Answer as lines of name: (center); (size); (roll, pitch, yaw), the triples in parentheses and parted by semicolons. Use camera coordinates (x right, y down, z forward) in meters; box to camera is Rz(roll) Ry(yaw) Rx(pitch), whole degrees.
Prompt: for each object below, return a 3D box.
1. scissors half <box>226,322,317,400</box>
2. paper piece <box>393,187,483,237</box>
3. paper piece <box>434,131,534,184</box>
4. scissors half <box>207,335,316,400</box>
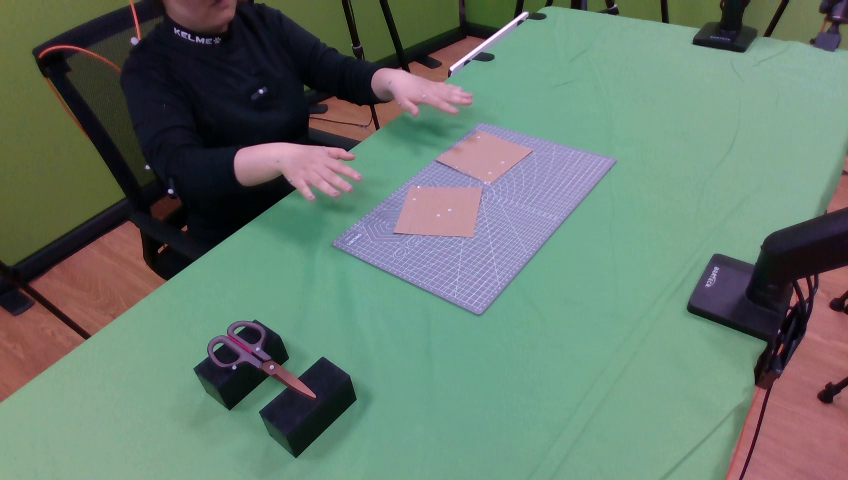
scissors half: (-0.189, 0.149, 0.754); (0.040, 0.013, 0.173); (-34, 49, -31)
paper piece: (0.027, -0.051, 1.033); (0.135, 0.004, 0.135); (3, 41, 12)
paper piece: (0.114, -0.161, 1.150); (0.135, 0.009, 0.138); (31, 52, 32)
scissors half: (-0.201, 0.159, 0.741); (0.174, 0.013, 0.040); (18, 39, 23)
